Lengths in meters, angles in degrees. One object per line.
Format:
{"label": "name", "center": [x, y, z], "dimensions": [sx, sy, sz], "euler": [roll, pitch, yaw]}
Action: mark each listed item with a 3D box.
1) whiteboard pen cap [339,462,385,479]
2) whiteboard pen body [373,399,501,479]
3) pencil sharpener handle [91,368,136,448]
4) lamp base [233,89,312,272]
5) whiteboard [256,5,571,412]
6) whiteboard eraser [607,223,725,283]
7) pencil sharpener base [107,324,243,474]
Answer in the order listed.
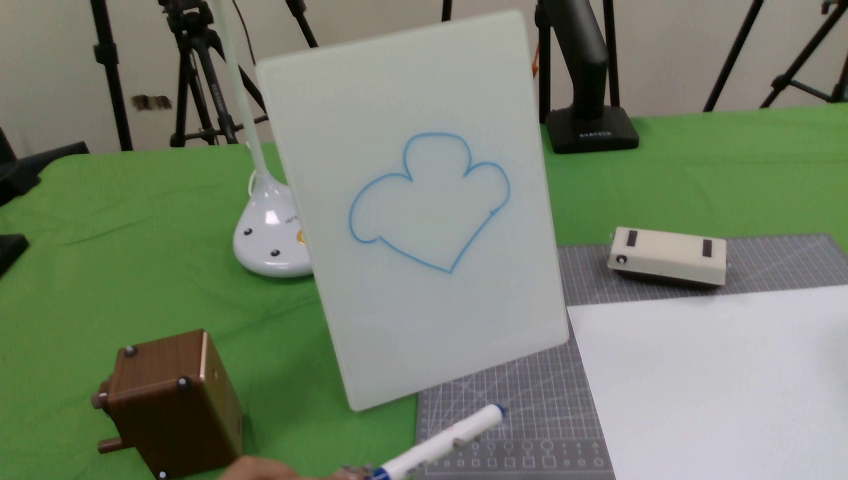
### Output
{"label": "whiteboard pen cap", "center": [-0.040, 0.154, 0.384], "dimensions": [0.018, 0.018, 0.033], "euler": [26, 28, 36]}
{"label": "whiteboard pen body", "center": [0.004, 0.141, 0.422], "dimensions": [0.141, 0.017, 0.017], "euler": [-14, 33, -40]}
{"label": "pencil sharpener handle", "center": [-0.250, 0.135, 0.476], "dimensions": [0.031, 0.068, 0.035], "euler": [-13, 25, -8]}
{"label": "lamp base", "center": [-0.171, -0.079, 0.710], "dimensions": [0.177, 0.182, 0.160], "euler": [25, 47, 38]}
{"label": "whiteboard", "center": [-0.008, -0.035, 0.571], "dimensions": [0.217, 0.307, 0.143], "euler": [-16, 18, -11]}
{"label": "whiteboard eraser", "center": [0.253, 0.014, 0.634], "dimensions": [0.112, 0.042, 0.055], "euler": [9, 40, 20]}
{"label": "pencil sharpener base", "center": [-0.200, 0.131, 0.494], "dimensions": [0.077, 0.108, 0.060], "euler": [-13, 38, -8]}
